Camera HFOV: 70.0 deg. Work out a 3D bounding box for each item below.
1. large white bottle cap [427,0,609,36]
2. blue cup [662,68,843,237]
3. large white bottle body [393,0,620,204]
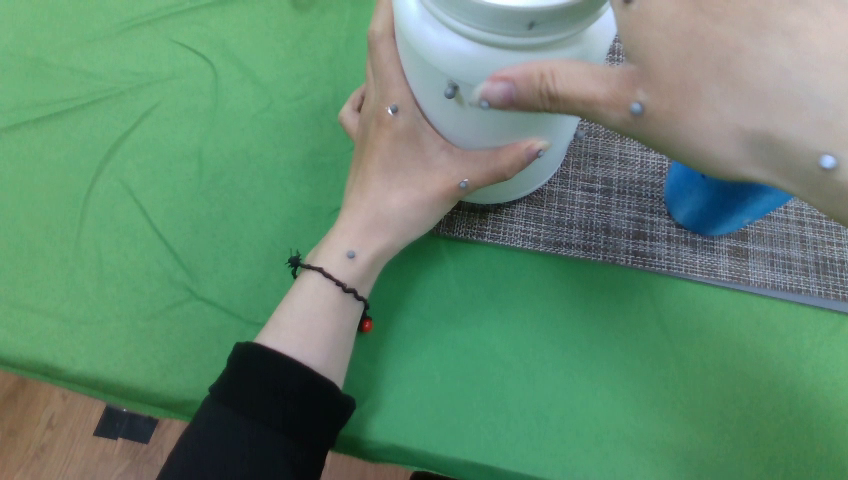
[{"bbox_3d":[0.047,-0.154,0.308,0.115,0.018,0.114,1,67,-1],"label":"large white bottle cap"},{"bbox_3d":[0.207,-0.049,0.408,0.092,0.101,0.092,0,67,0],"label":"blue cup"},{"bbox_3d":[0.045,-0.119,0.387,0.131,0.186,0.129,1,66,-1],"label":"large white bottle body"}]
